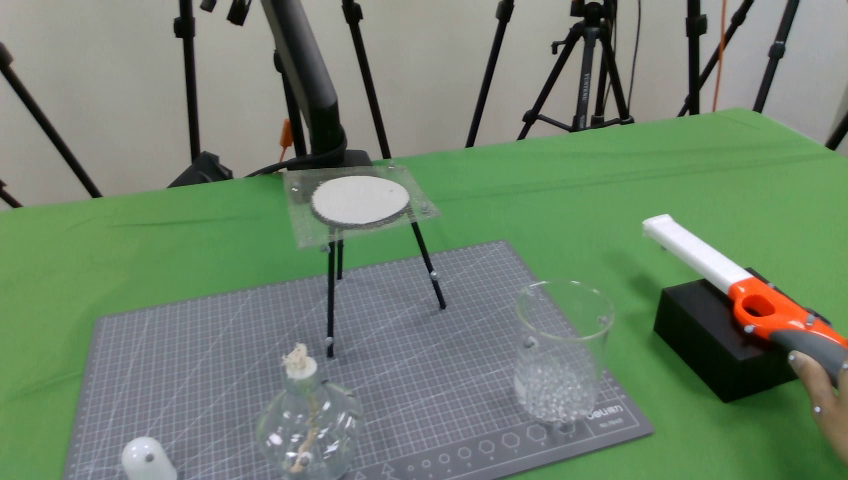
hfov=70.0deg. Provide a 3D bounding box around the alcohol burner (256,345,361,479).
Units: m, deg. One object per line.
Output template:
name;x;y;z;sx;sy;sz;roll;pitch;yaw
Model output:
alcohol burner;-0.085;0.119;0.438;0.078;0.120;0.077;0;36;0

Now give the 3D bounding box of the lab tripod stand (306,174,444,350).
lab tripod stand;-0.054;0.013;0.578;0.148;0.132;0.147;0;32;0

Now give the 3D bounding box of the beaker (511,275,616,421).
beaker;0.106;0.089;0.491;0.074;0.101;0.083;-21;38;-27

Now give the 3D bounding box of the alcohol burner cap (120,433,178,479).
alcohol burner cap;-0.203;0.161;0.443;0.034;0.048;0.033;0;35;1

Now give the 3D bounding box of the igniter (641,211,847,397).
igniter;0.286;0.045;0.537;0.057;0.025;0.273;-16;34;-11

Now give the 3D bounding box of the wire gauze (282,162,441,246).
wire gauze;-0.059;-0.040;0.536;0.122;0.011;0.123;-9;35;-14
